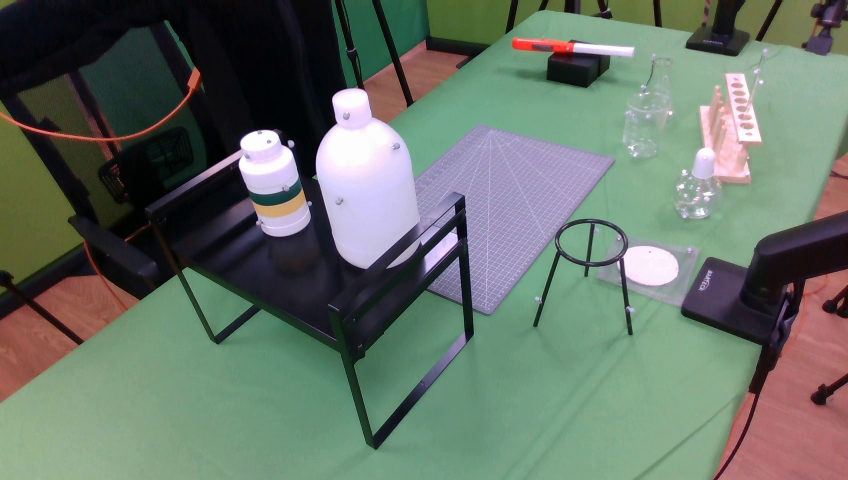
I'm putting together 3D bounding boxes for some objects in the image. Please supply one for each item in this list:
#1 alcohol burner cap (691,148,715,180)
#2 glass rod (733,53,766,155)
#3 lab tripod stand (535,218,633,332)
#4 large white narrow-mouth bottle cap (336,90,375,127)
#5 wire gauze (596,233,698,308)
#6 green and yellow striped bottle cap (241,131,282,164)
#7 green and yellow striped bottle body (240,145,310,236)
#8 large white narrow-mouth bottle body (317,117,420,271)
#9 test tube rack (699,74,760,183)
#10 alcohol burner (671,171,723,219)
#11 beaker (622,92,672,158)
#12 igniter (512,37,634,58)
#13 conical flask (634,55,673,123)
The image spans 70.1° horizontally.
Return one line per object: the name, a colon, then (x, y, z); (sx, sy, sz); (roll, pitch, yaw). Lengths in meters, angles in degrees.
alcohol burner cap: (0.432, -0.120, 0.930); (0.034, 0.048, 0.033); (-7, 48, 8)
glass rod: (0.540, -0.220, 1.007); (0.008, 0.201, 0.008); (-5, 46, 6)
lab tripod stand: (0.215, 0.050, 0.803); (0.148, 0.132, 0.147); (-4, 43, 4)
large white narrow-mouth bottle cap: (-0.067, -0.130, 0.595); (0.038, 0.024, 0.037); (-3, 41, 3)
wire gauze: (0.331, 0.038, 0.897); (0.124, 0.011, 0.121); (18, 47, 26)
green and yellow striped bottle cap: (-0.187, -0.107, 0.695); (0.045, 0.020, 0.045); (-3, 39, 3)
green and yellow striped bottle body: (-0.181, -0.068, 0.729); (0.063, 0.120, 0.063); (-4, 40, 4)
large white narrow-mouth bottle body: (-0.062, -0.065, 0.653); (0.102, 0.195, 0.101); (-3, 41, 3)
test tube rack: (0.547, -0.208, 1.095); (0.066, 0.085, 0.242); (6, 42, 16)
alcohol burner: (0.434, -0.093, 0.955); (0.078, 0.119, 0.077); (-3, 43, 4)
beaker: (0.402, -0.210, 1.106); (0.074, 0.101, 0.083); (-8, 40, -2)
igniter: (0.328, -0.433, 1.360); (0.275, 0.025, 0.057); (12, 33, 20)
conical flask: (0.456, -0.297, 1.182); (0.075, 0.122, 0.075); (-4, 41, 4)
